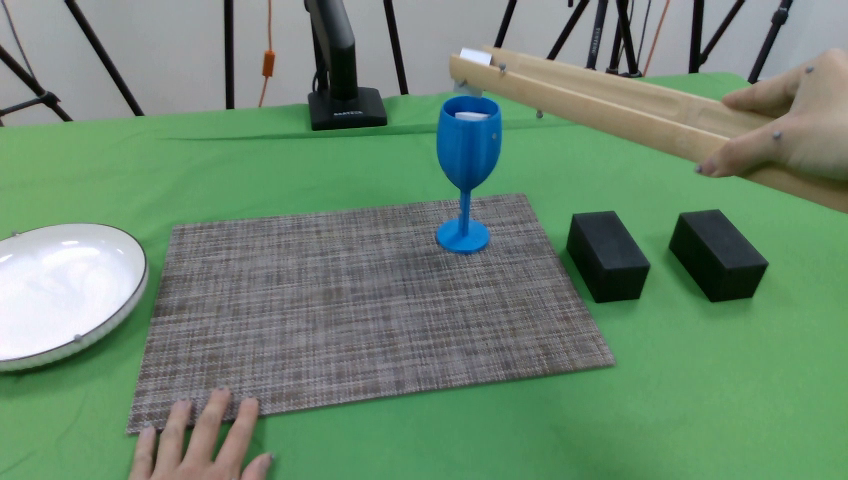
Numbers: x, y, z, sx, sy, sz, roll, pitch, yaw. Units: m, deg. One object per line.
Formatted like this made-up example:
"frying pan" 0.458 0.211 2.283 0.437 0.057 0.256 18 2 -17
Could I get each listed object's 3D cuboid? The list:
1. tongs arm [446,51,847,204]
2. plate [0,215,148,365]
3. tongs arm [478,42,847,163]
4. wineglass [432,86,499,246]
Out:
"tongs arm" 0.161 -0.104 0.480 0.051 0.027 0.380 -25 39 -31
"plate" -0.393 0.050 0.627 0.209 0.038 0.207 1 40 0
"tongs arm" 0.183 -0.115 0.496 0.028 0.028 0.383 -24 39 -36
"wineglass" 0.044 -0.080 0.683 0.074 0.174 0.073 0 40 0
